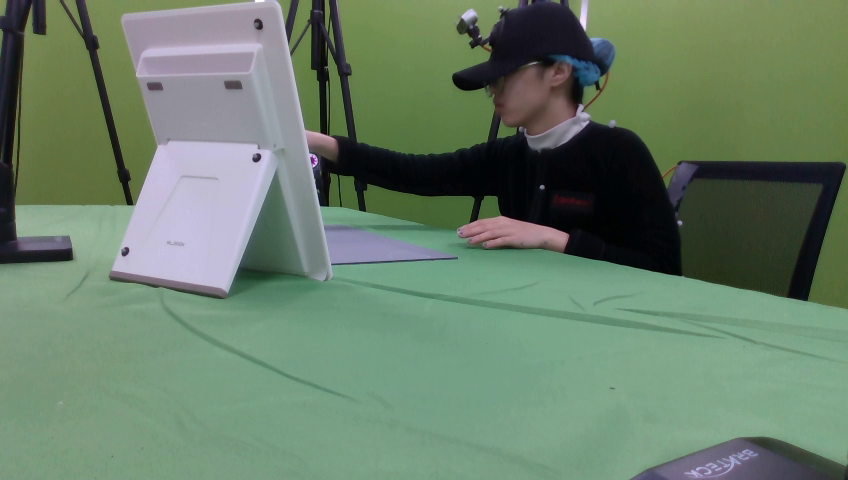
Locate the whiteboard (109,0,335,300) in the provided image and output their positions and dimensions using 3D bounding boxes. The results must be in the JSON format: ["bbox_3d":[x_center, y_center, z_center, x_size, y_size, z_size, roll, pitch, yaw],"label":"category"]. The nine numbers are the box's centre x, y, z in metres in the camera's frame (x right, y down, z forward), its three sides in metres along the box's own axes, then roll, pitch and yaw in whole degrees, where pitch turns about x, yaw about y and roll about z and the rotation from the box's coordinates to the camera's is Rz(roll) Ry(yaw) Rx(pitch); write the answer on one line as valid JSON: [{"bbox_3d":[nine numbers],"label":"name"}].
[{"bbox_3d":[-0.247,-0.072,0.624,0.216,0.305,0.144,6,28,26],"label":"whiteboard"}]

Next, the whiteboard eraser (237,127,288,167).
[{"bbox_3d":[-0.312,-0.175,1.168,0.055,0.042,0.113,17,-9,16],"label":"whiteboard eraser"}]
